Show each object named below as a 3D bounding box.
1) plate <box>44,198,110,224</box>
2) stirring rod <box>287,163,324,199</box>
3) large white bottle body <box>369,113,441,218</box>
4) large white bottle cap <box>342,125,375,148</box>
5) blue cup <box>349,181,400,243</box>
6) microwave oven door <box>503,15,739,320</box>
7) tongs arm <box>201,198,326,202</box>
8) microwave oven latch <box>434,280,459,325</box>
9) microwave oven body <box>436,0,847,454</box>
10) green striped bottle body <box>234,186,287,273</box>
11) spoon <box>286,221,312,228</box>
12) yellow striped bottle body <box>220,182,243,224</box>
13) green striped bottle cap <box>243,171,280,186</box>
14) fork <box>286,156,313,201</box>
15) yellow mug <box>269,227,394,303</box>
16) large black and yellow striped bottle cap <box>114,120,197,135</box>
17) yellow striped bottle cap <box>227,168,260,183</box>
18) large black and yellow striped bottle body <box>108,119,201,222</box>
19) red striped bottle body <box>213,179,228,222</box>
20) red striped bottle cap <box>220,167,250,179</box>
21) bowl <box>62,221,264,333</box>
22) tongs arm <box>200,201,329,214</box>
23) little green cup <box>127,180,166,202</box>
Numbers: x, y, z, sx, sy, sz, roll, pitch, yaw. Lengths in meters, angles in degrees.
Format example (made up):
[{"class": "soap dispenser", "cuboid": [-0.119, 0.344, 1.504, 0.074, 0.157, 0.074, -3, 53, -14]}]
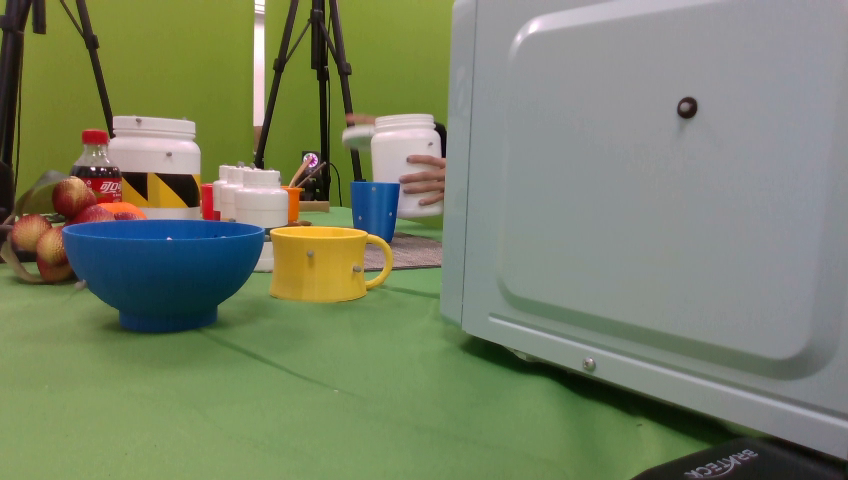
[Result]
[{"class": "plate", "cuboid": [-0.617, -0.056, 1.179, 0.209, 0.038, 0.209, 3, 7, 0]}, {"class": "stirring rod", "cuboid": [-0.278, -0.105, 1.293, 0.176, 0.006, 0.014, -47, 25, -19]}, {"class": "large white bottle body", "cuboid": [-0.032, -0.136, 1.121, 0.131, 0.184, 0.130, -4, 7, 1]}, {"class": "large white bottle cap", "cuboid": [-0.116, -0.216, 1.273, 0.115, 0.018, 0.115, -2, -8, 0]}, {"class": "blue cup", "cuboid": [-0.083, -0.047, 1.012, 0.093, 0.100, 0.092, 2, 6, 0]}, {"class": "microwave oven door", "cuboid": [0.218, -0.065, 0.600, 0.358, 0.243, 0.039, -4, 10, -41]}, {"class": "tongs arm", "cuboid": [-0.433, -0.090, 1.508, 0.390, 0.028, 0.028, -1, 2, -29]}, {"class": "microwave oven latch", "cuboid": [0.044, 0.045, 0.470, 0.079, 0.029, 0.030, -2, 8, -39]}, {"class": "microwave oven body", "cuboid": [0.279, -0.040, 0.465, 0.444, 0.260, 0.324, -3, 9, -41]}, {"class": "green striped bottle body", "cuboid": [-0.200, -0.023, 0.743, 0.063, 0.119, 0.063, 2, 7, 0]}, {"class": "spoon", "cuboid": [-0.232, -0.027, 1.116, 0.041, 0.021, 0.193, -22, 6, 4]}, {"class": "yellow striped bottle body", "cuboid": [-0.245, -0.036, 0.825, 0.063, 0.120, 0.063, 4, 9, 0]}, {"class": "green striped bottle cap", "cuboid": [-0.198, -0.074, 0.736, 0.044, 0.020, 0.044, 1, 7, 0]}, {"class": "fork", "cuboid": [-0.288, -0.117, 1.319, 0.028, 0.019, 0.207, -8, 45, 32]}, {"class": "yellow mug", "cuboid": [-0.094, 0.023, 0.629, 0.131, 0.064, 0.099, 0, 7, -22]}, {"class": "large black and yellow striped bottle cap", "cuboid": [-0.407, -0.171, 0.920, 0.115, 0.019, 0.115, 2, 9, 0]}, {"class": "yellow striped bottle cap", "cuboid": [-0.243, -0.087, 0.818, 0.044, 0.018, 0.044, 3, 6, 0]}, {"class": "large black and yellow striped bottle body", "cuboid": [-0.412, -0.088, 0.930, 0.131, 0.184, 0.130, 3, 7, 0]}, {"class": "red striped bottle body", "cuboid": [-0.284, -0.048, 0.910, 0.063, 0.119, 0.063, 3, 12, 0]}, {"class": "red striped bottle cap", "cuboid": [-0.281, -0.099, 0.901, 0.044, 0.017, 0.044, -1, 5, 0]}, {"class": "bowl", "cuboid": [-0.209, 0.029, 0.496, 0.151, 0.077, 0.151, 2, 7, 0]}, {"class": "tongs arm", "cuboid": [-0.378, -0.079, 1.440, 0.387, 0.026, 0.050, -4, 7, -44]}, {"class": "little green cup", "cuboid": [-0.486, -0.086, 1.061, 0.061, 0.038, 0.061, 1, 7, 0]}]
